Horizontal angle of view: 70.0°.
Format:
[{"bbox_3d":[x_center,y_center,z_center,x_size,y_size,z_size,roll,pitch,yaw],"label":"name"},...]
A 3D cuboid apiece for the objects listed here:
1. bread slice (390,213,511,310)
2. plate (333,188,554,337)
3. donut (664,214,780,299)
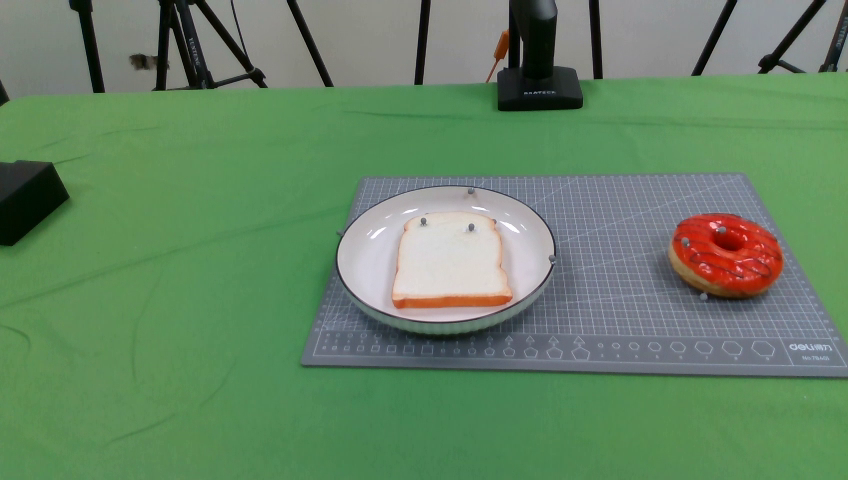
[{"bbox_3d":[0.021,0.019,0.586,0.107,0.018,0.133,-3,38,-1],"label":"bread slice"},{"bbox_3d":[0.019,0.021,0.581,0.209,0.038,0.207,-2,38,2],"label":"plate"},{"bbox_3d":[0.273,0.015,0.557,0.099,0.048,0.098,-1,40,1],"label":"donut"}]
